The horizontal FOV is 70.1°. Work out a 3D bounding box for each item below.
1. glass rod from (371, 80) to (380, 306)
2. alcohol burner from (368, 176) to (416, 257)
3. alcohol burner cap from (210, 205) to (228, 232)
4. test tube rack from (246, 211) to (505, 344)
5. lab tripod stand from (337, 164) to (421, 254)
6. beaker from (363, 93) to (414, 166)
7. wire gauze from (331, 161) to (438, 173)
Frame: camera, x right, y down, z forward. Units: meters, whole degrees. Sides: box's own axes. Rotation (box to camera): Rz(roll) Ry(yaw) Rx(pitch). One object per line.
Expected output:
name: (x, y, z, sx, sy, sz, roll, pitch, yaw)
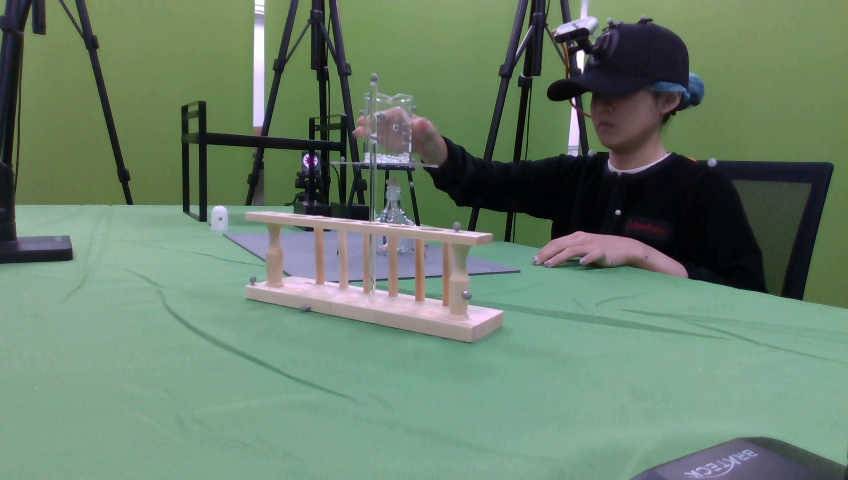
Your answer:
glass rod: (-0.042, -0.039, 0.530, 0.008, 0.199, 0.008, 0, 2, 0)
alcohol burner: (-0.046, -0.035, 0.896, 0.078, 0.119, 0.078, 4, 5, 0)
alcohol burner cap: (-0.376, -0.040, 1.107, 0.034, 0.048, 0.034, 2, 7, 0)
test tube rack: (-0.049, 0.025, 0.547, 0.241, 0.085, 0.067, 7, 8, 29)
lab tripod stand: (-0.061, -0.046, 0.894, 0.148, 0.131, 0.148, 1, 6, 0)
beaker: (-0.052, -0.157, 0.871, 0.074, 0.100, 0.084, 1, 6, -10)
wire gauze: (-0.054, -0.110, 0.883, 0.121, 0.011, 0.125, 6, 5, 18)
